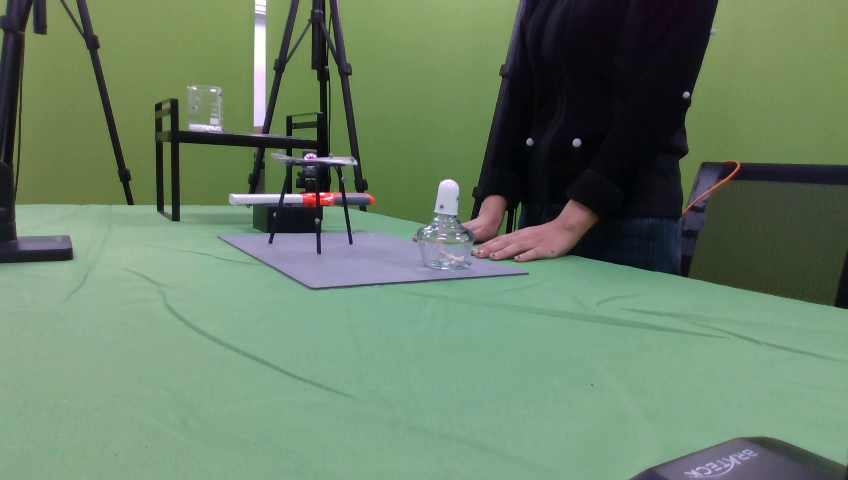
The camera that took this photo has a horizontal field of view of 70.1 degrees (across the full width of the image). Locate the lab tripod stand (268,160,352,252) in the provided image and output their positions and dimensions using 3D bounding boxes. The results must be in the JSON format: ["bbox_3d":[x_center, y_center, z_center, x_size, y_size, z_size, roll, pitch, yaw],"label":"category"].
[{"bbox_3d":[-0.171,-0.055,0.921,0.148,0.131,0.148,1,8,0],"label":"lab tripod stand"}]

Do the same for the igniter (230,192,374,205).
[{"bbox_3d":[-0.228,-0.079,1.164,0.278,0.025,0.057,-2,15,-30],"label":"igniter"}]

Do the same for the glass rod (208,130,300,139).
[{"bbox_3d":[-0.367,-0.231,1.321,0.201,0.008,0.008,-1,8,-30],"label":"glass rod"}]

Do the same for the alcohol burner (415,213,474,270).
[{"bbox_3d":[0.028,-0.020,0.798,0.078,0.119,0.078,4,5,0],"label":"alcohol burner"}]

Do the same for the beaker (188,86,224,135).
[{"bbox_3d":[-0.474,-0.280,1.311,0.074,0.100,0.084,5,8,26],"label":"beaker"}]

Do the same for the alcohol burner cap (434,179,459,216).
[{"bbox_3d":[0.031,-0.055,0.792,0.034,0.048,0.034,6,9,-1],"label":"alcohol burner cap"}]

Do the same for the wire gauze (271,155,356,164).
[{"bbox_3d":[-0.167,-0.122,0.917,0.125,0.011,0.121,0,7,-9],"label":"wire gauze"}]
